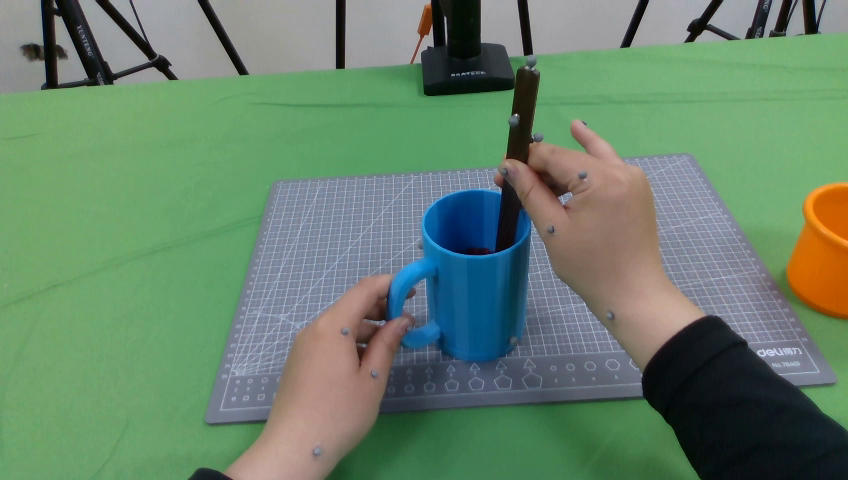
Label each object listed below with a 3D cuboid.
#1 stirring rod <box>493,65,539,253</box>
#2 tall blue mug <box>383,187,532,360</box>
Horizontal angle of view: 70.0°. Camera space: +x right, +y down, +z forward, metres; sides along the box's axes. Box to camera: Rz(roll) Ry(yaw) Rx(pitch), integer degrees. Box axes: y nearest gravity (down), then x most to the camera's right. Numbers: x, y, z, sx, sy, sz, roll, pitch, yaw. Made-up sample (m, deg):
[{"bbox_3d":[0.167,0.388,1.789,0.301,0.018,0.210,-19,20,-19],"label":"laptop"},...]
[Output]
[{"bbox_3d":[0.058,-0.036,0.400,0.014,0.178,0.006,20,51,18],"label":"stirring rod"},{"bbox_3d":[0.030,0.035,0.439,0.077,0.109,0.107,19,46,23],"label":"tall blue mug"}]
